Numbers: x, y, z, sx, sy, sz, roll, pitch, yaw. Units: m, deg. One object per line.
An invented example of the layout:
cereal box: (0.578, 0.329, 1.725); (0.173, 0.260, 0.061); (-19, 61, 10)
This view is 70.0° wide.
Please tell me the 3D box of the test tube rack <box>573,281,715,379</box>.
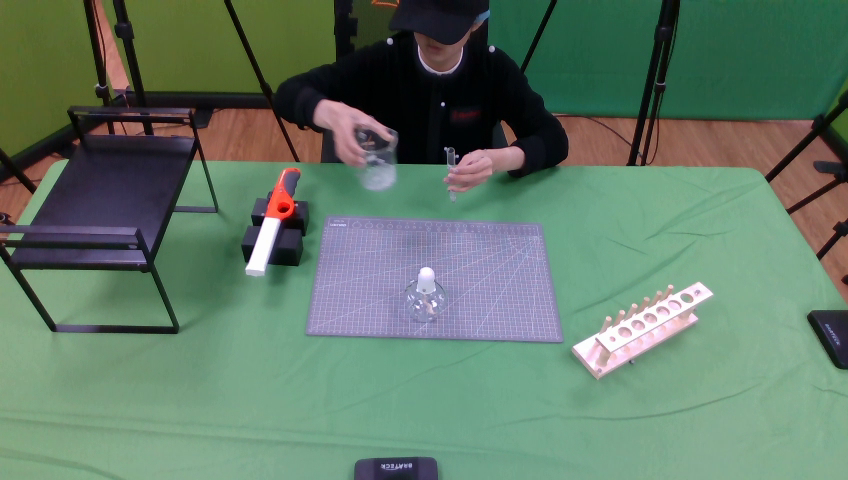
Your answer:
test tube rack: (0.378, 0.140, 1.038); (0.242, 0.085, 0.066); (-22, 51, -23)

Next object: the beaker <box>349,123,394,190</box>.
beaker: (-0.088, -0.147, 1.081); (0.084, 0.101, 0.073); (-28, 54, -22)

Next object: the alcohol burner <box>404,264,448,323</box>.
alcohol burner: (0.003, 0.087, 1.042); (0.078, 0.120, 0.077); (0, 45, 0)

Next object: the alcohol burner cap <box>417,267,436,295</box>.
alcohol burner cap: (0.004, 0.066, 1.019); (0.034, 0.048, 0.033); (0, 47, 1)

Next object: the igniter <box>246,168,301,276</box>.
igniter: (-0.282, -0.044, 1.149); (0.057, 0.025, 0.275); (8, 48, -1)

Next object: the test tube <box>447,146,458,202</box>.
test tube: (0.055, -0.123, 1.165); (0.017, 0.151, 0.017); (-2, 55, 4)
